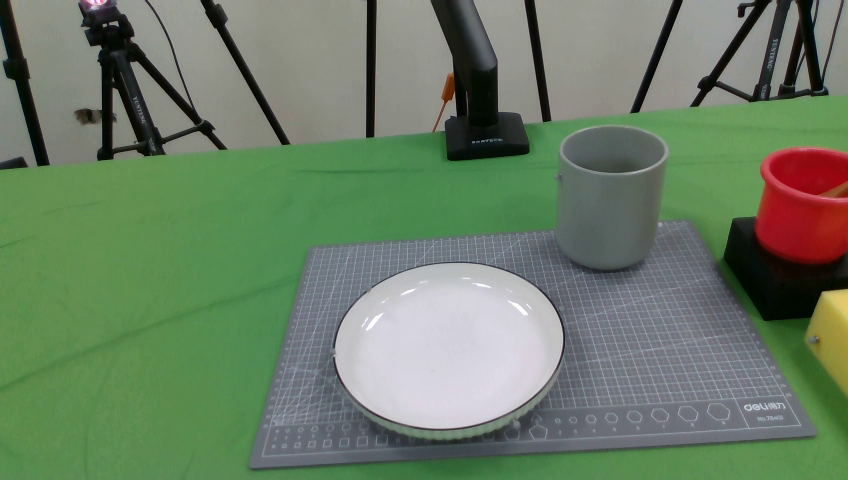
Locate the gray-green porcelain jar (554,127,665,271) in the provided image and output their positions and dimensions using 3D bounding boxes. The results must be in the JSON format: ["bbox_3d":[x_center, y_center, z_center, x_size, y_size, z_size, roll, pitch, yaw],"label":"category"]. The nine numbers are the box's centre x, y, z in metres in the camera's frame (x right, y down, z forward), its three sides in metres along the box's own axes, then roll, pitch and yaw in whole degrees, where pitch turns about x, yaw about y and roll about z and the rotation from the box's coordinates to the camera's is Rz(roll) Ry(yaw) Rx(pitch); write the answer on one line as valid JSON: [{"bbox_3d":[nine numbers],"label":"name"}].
[{"bbox_3d":[0.191,-0.039,0.638,0.106,0.127,0.105,-4,36,4],"label":"gray-green porcelain jar"}]

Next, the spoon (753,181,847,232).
[{"bbox_3d":[0.387,-0.052,0.530,0.194,0.022,0.041,-36,14,44],"label":"spoon"}]

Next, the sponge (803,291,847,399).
[{"bbox_3d":[0.403,0.121,0.449,0.118,0.061,0.204,-7,36,-1],"label":"sponge"}]

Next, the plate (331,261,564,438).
[{"bbox_3d":[0.022,0.097,0.554,0.207,0.039,0.205,-4,36,3],"label":"plate"}]
